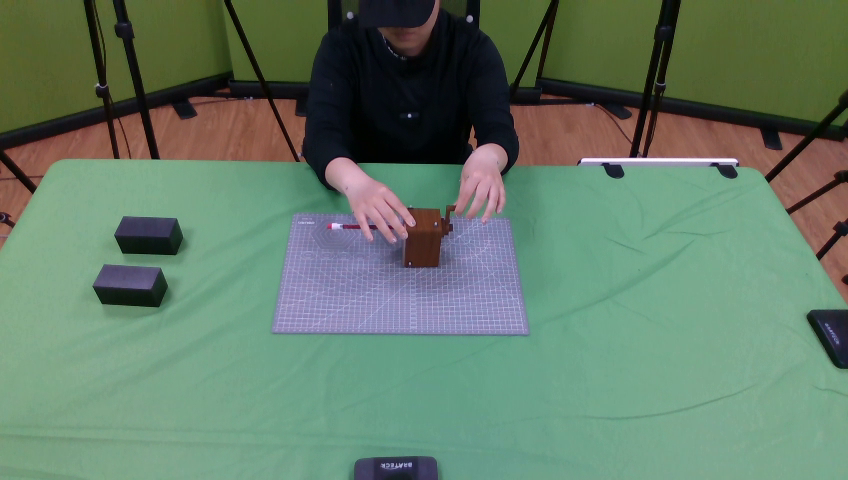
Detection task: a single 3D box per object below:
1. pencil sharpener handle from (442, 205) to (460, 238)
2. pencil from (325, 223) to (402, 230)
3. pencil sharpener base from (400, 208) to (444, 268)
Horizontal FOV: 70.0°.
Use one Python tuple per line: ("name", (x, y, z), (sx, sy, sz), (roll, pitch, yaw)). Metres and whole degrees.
("pencil sharpener handle", (0.049, -0.035, 1.113), (0.031, 0.068, 0.036), (-1, 36, -5))
("pencil", (-0.084, -0.023, 1.110), (0.194, 0.012, 0.012), (1, 45, -5))
("pencil sharpener base", (-0.004, -0.003, 1.137), (0.077, 0.107, 0.061), (-1, 46, -5))
